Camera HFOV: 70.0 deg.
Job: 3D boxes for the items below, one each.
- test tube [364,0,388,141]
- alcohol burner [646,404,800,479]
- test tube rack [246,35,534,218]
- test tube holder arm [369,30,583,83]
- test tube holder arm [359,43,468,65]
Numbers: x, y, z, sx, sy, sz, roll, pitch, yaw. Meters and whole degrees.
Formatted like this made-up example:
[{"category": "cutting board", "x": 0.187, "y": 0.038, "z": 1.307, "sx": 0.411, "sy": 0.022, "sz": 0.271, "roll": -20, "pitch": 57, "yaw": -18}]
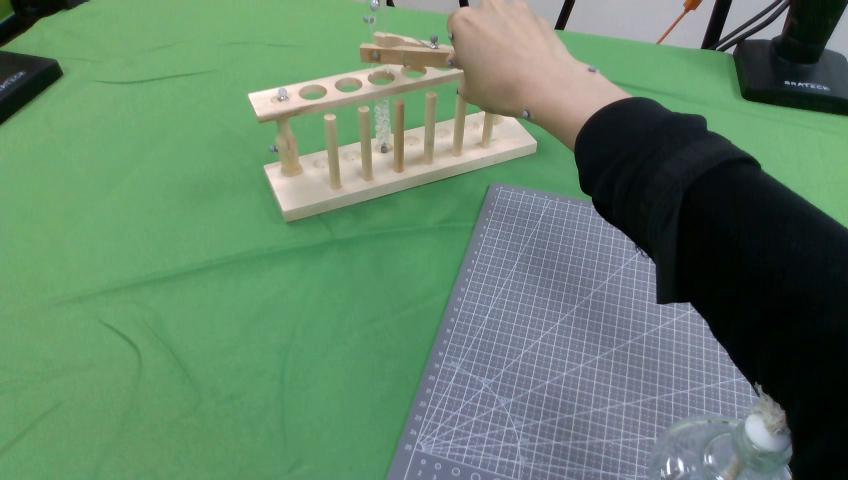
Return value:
[{"category": "test tube", "x": -0.040, "y": -0.146, "z": 0.500, "sx": 0.017, "sy": 0.151, "sz": 0.017, "roll": 1, "pitch": 44, "yaw": 0}, {"category": "alcohol burner", "x": 0.157, "y": 0.114, "z": 0.306, "sx": 0.078, "sy": 0.120, "sz": 0.077, "roll": 0, "pitch": 48, "yaw": 0}, {"category": "test tube rack", "x": -0.019, "y": -0.102, "z": 0.528, "sx": 0.243, "sy": 0.086, "sz": 0.066, "roll": -18, "pitch": 49, "yaw": -17}, {"category": "test tube holder arm", "x": 0.035, "y": -0.142, "z": 0.465, "sx": 0.177, "sy": 0.015, "sz": 0.013, "roll": 16, "pitch": 55, "yaw": 22}, {"category": "test tube holder arm", "x": -0.008, "y": -0.146, "z": 0.476, "sx": 0.087, "sy": 0.015, "sz": 0.010, "roll": 3, "pitch": 50, "yaw": 13}]
